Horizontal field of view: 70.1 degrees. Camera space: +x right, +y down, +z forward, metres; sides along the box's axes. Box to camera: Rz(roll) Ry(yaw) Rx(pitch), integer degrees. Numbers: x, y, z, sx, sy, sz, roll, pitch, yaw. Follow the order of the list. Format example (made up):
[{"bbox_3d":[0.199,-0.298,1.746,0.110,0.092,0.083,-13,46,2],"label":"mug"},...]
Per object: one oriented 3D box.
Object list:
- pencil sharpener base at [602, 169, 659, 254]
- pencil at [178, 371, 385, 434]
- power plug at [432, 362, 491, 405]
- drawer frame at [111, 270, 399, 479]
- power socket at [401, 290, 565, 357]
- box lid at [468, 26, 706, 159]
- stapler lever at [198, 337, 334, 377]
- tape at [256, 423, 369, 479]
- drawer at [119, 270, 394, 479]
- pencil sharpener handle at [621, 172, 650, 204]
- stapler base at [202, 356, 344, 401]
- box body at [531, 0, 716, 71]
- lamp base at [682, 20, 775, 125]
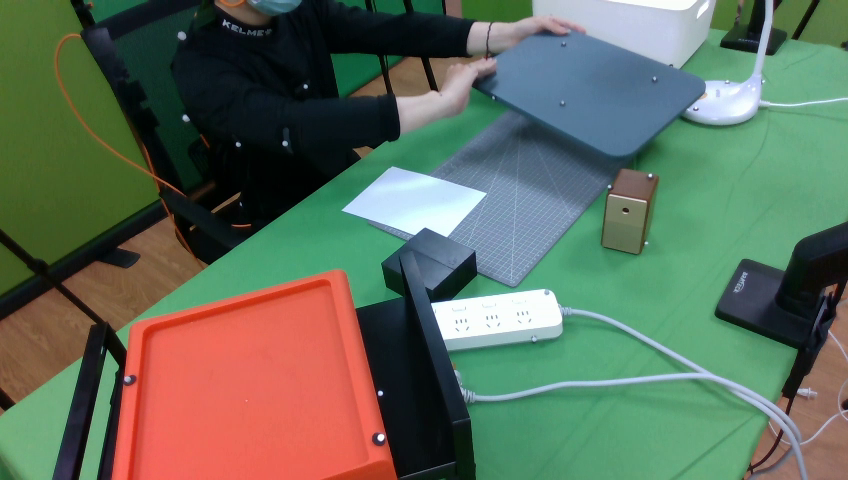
[{"bbox_3d":[0.311,-0.044,0.913,0.061,0.107,0.077,14,45,24],"label":"pencil sharpener base"},{"bbox_3d":[-0.128,0.141,0.534,0.194,0.012,0.012,14,44,7],"label":"pencil"},{"bbox_3d":[0.044,0.182,0.759,0.073,0.035,0.052,24,41,-19],"label":"power plug"},{"bbox_3d":[-0.140,0.140,0.506,0.202,0.083,0.212,-15,41,-9],"label":"drawer frame"},{"bbox_3d":[0.080,0.113,0.821,0.227,0.033,0.072,-6,41,0],"label":"power socket"},{"bbox_3d":[0.288,-0.286,1.110,0.264,0.015,0.368,-37,53,-23],"label":"box lid"},{"bbox_3d":[-0.142,0.105,0.541,0.118,0.040,0.026,-3,43,4],"label":"stapler lever"},{"bbox_3d":[-0.121,0.262,0.659,0.117,0.053,0.116,-4,40,4],"label":"tape"},{"bbox_3d":[-0.141,0.139,0.509,0.195,0.073,0.210,-14,42,-8],"label":"drawer"},{"bbox_3d":[0.328,-0.086,0.940,0.036,0.068,0.030,30,49,8],"label":"pencil sharpener handle"},{"bbox_3d":[-0.142,0.123,0.557,0.130,0.024,0.041,-2,43,3],"label":"stapler base"},{"bbox_3d":[0.459,-0.522,1.407,0.361,0.161,0.255,22,49,30],"label":"box body"},{"bbox_3d":[0.582,-0.332,1.153,0.179,0.181,0.160,2,41,7],"label":"lamp base"}]
